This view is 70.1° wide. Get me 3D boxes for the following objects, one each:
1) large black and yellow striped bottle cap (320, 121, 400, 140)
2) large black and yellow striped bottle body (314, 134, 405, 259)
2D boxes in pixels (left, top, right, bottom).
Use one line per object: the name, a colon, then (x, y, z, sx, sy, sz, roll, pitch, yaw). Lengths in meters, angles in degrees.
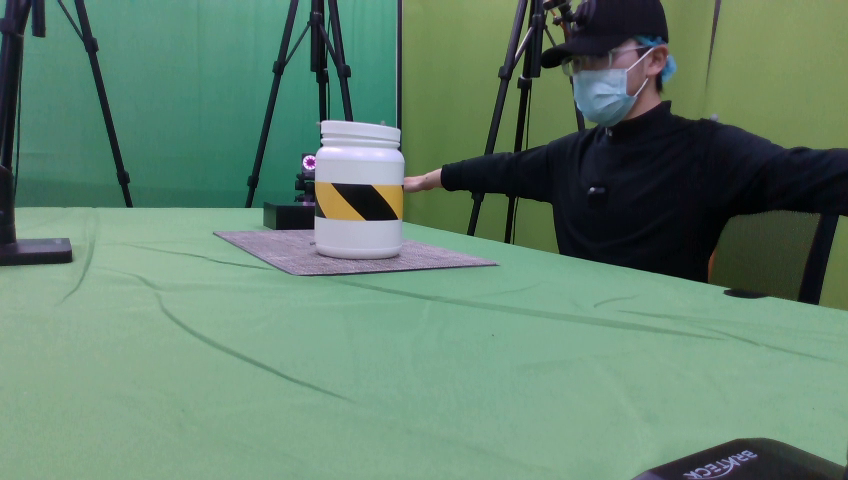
large black and yellow striped bottle cap: (-0.091, -0.157, 0.873, 0.115, 0.019, 0.115, 4, 6, 0)
large black and yellow striped bottle body: (-0.095, -0.072, 0.886, 0.131, 0.184, 0.130, 2, 8, 0)
